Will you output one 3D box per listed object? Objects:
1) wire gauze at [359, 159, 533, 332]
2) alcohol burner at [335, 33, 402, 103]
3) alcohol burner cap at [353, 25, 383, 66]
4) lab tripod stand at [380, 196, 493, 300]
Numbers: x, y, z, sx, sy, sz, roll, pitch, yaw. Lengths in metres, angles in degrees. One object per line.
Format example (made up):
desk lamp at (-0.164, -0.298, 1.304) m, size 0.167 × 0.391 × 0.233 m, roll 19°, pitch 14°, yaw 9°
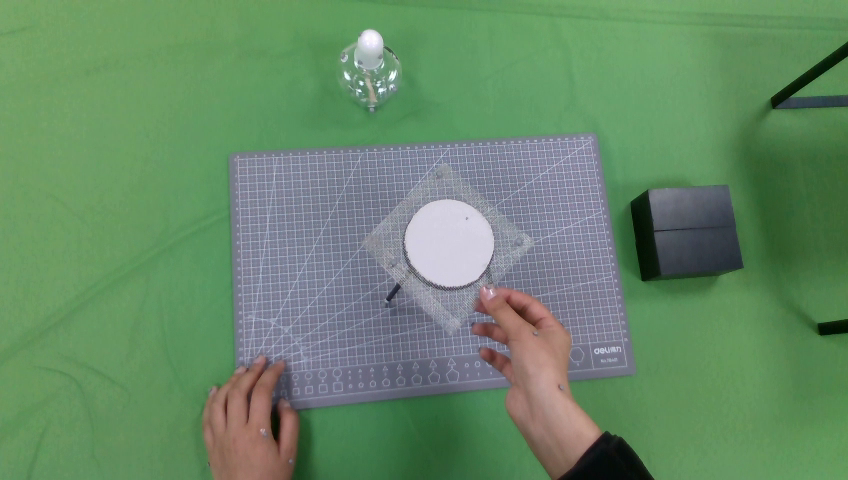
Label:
wire gauze at (0.021, 0.001, 0.577) m, size 0.125 × 0.011 × 0.121 m, roll 44°, pitch 78°, yaw 5°
alcohol burner at (-0.063, -0.207, 0.696) m, size 0.078 × 0.119 × 0.077 m, roll 2°, pitch 78°, yaw -7°
alcohol burner cap at (-0.060, -0.214, 0.662) m, size 0.034 × 0.048 × 0.034 m, roll 1°, pitch 82°, yaw -9°
lab tripod stand at (0.020, 0.015, 0.643) m, size 0.149 × 0.132 × 0.147 m, roll 2°, pitch 76°, yaw -7°
